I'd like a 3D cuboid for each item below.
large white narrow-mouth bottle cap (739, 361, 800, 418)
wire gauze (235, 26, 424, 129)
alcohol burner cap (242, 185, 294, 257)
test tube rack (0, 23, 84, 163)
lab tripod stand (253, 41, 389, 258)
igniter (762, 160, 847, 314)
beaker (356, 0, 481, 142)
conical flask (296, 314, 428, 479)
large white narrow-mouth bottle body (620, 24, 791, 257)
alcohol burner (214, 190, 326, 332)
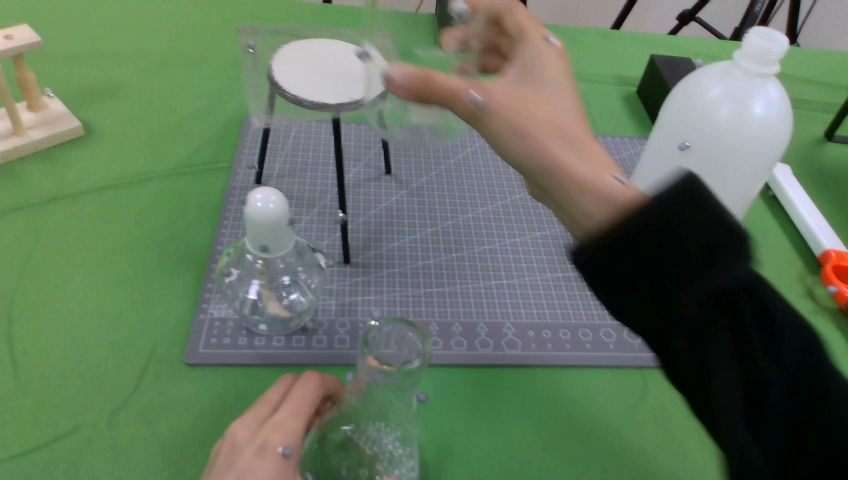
[{"bbox_3d":[0.256,0.111,0.449,0.038,0.024,0.037,4,45,-4],"label":"large white narrow-mouth bottle cap"},{"bbox_3d":[-0.074,-0.128,0.452,0.122,0.011,0.123,-8,50,-17],"label":"wire gauze"},{"bbox_3d":[-0.103,-0.014,0.394,0.034,0.048,0.033,4,51,-5],"label":"alcohol burner cap"},{"bbox_3d":[-0.428,-0.095,0.496,0.242,0.086,0.066,-32,58,-33],"label":"test tube rack"},{"bbox_3d":[-0.077,-0.080,0.499,0.148,0.132,0.147,6,46,-6],"label":"lab tripod stand"},{"bbox_3d":[0.374,0.019,0.551,0.057,0.025,0.273,10,45,-14],"label":"igniter"},{"bbox_3d":[-0.007,-0.116,0.357,0.084,0.101,0.073,-10,43,-17],"label":"beaker"},{"bbox_3d":[-0.029,0.096,0.342,0.075,0.122,0.074,11,38,-8],"label":"conical flask"},{"bbox_3d":[0.241,-0.083,0.508,0.102,0.196,0.101,4,45,-4],"label":"large white narrow-mouth bottle body"},{"bbox_3d":[-0.107,0.010,0.421,0.078,0.120,0.077,6,44,-5],"label":"alcohol burner"}]
